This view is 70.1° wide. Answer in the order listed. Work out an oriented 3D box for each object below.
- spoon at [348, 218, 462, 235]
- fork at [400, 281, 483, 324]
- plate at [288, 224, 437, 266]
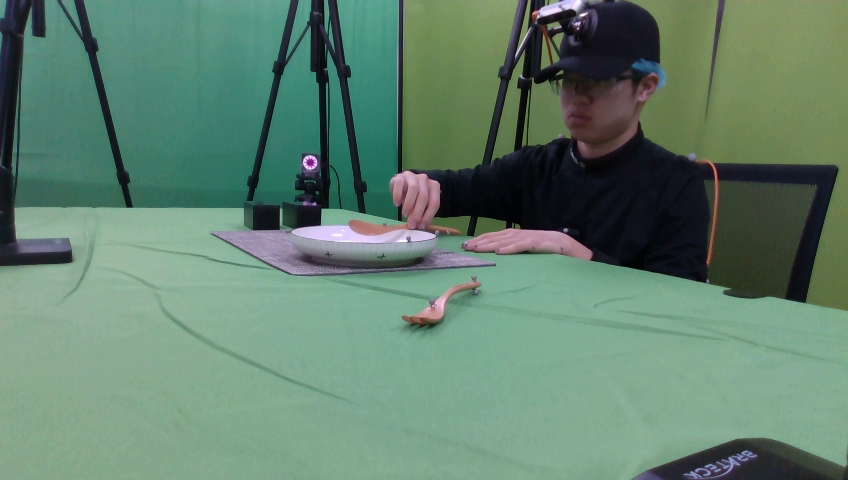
[{"bbox_3d":[-0.025,-0.020,0.933,0.195,0.021,0.041,-1,-25,-29],"label":"spoon"},{"bbox_3d":[0.025,0.057,0.590,0.028,0.018,0.208,-2,7,21],"label":"fork"},{"bbox_3d":[-0.086,0.007,0.852,0.208,0.039,0.207,2,7,0],"label":"plate"}]
